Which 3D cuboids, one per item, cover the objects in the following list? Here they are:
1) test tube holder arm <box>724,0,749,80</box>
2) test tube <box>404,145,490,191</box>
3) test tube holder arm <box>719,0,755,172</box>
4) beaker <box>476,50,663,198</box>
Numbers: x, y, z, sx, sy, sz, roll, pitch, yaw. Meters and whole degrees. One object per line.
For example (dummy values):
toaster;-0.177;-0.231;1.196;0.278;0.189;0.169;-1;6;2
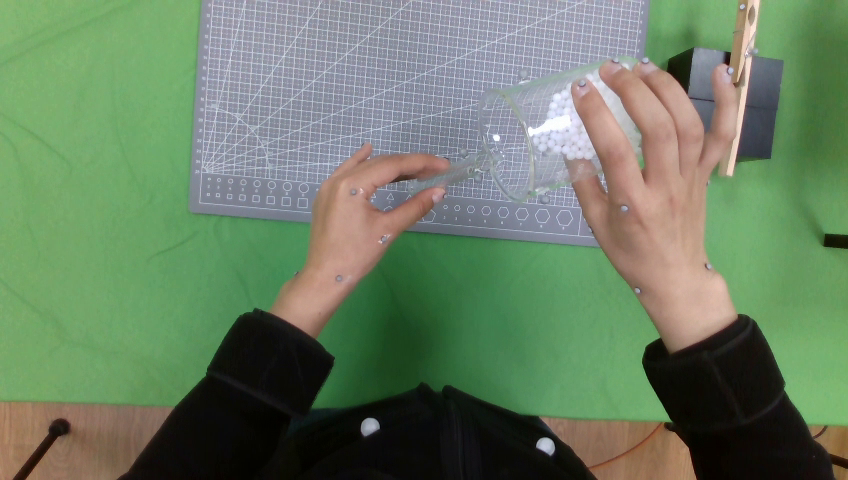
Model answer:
test tube holder arm;0.310;-0.202;0.598;0.010;0.015;0.088;3;95;-15
test tube;0.014;-0.055;0.489;0.017;0.149;0.017;1;87;-21
test tube holder arm;0.312;-0.157;0.604;0.013;0.015;0.178;2;95;-15
beaker;0.093;-0.076;0.393;0.100;0.084;0.074;-19;91;-13
